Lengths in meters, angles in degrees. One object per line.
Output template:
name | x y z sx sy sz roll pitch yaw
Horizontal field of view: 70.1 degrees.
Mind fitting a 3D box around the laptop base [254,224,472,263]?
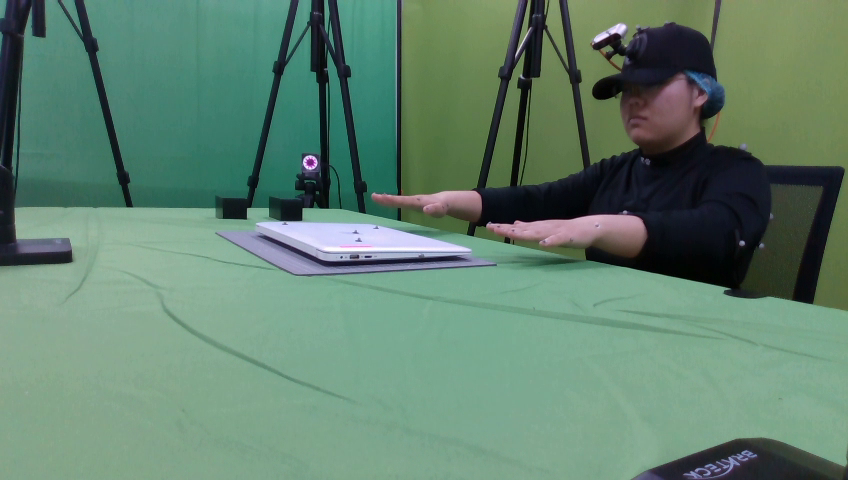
laptop base | -0.115 0.005 0.973 0.237 0.023 0.352 2 6 -31

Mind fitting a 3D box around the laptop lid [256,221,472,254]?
laptop lid | -0.112 -0.007 0.972 0.243 0.013 0.355 1 7 -29
